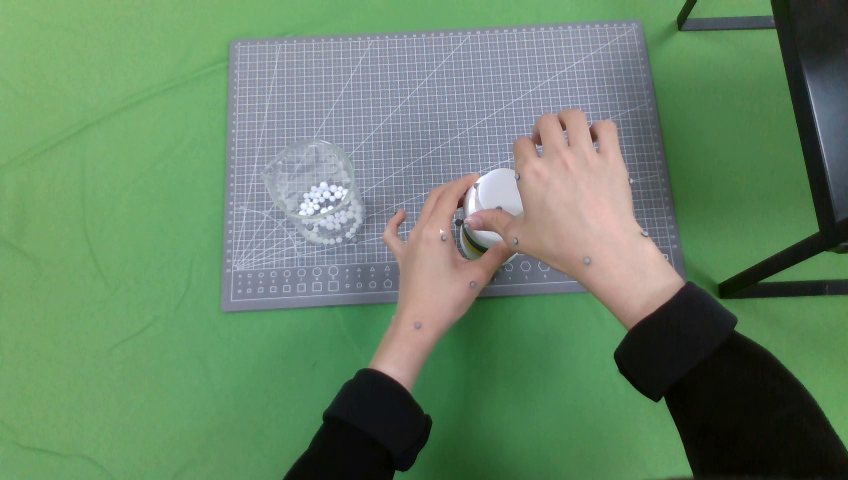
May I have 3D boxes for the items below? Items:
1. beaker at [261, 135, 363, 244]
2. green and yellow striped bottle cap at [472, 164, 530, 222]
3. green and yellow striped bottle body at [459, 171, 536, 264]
[{"bbox_3d":[-0.098,-0.042,0.561,0.084,0.101,0.073,8,74,3],"label":"beaker"},{"bbox_3d":[0.062,-0.039,0.489,0.045,0.020,0.045,1,79,-6],"label":"green and yellow striped bottle cap"},{"bbox_3d":[0.064,-0.022,0.544,0.063,0.120,0.063,0,74,1],"label":"green and yellow striped bottle body"}]
